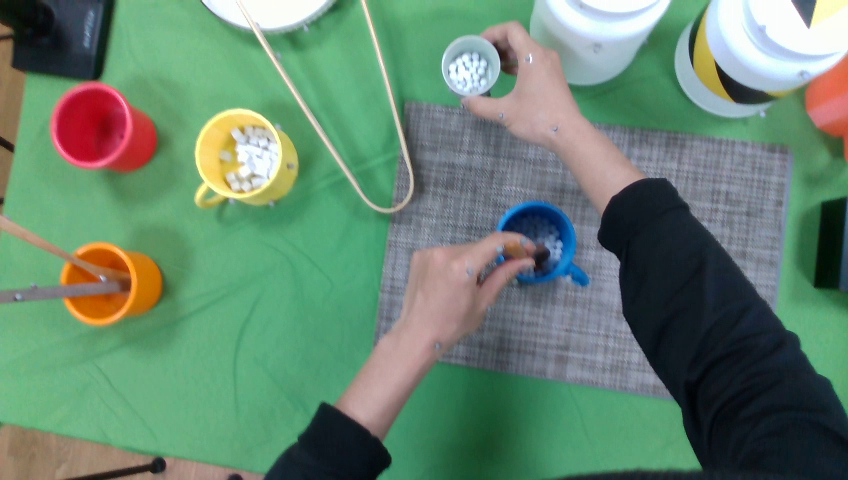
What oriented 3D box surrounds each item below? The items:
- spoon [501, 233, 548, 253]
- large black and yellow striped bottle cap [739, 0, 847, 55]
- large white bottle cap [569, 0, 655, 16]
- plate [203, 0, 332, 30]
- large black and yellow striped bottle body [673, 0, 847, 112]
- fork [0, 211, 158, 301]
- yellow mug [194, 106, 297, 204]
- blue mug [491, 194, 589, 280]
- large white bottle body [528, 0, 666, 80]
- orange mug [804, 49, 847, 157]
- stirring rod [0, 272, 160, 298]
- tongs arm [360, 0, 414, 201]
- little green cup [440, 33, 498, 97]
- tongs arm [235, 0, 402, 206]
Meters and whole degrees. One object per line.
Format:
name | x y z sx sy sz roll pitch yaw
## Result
spoon | 0.094 0.004 0.579 0.041 0.194 0.021 -2 91 14
large black and yellow striped bottle cap | 0.340 -0.223 0.535 0.115 0.019 0.115 0 89 3
large white bottle cap | 0.172 -0.261 0.547 0.115 0.018 0.114 0 88 5
plate | -0.184 -0.353 0.733 0.207 0.039 0.207 0 88 4
large black and yellow striped bottle body | 0.347 -0.216 0.618 0.131 0.184 0.130 0 87 5
fork | -0.396 0.014 0.678 0.209 0.018 0.028 39 85 -38
yellow mug | -0.219 -0.089 0.712 0.131 0.064 0.100 -44 86 3
blue mug | 0.129 0.007 0.660 0.116 0.106 0.082 36 90 5
large white bottle body | 0.180 -0.257 0.631 0.130 0.185 0.130 0 87 5
orange mug | 0.479 -0.153 0.650 0.083 0.101 0.126 -2 83 5
stirring rod | -0.392 0.050 0.683 0.177 0.006 0.014 -5 81 -38
tongs arm | -0.067 -0.235 0.705 0.028 0.027 0.387 -16 93 -5
little green cup | 0.048 -0.183 0.644 0.061 0.038 0.061 0 88 4
tongs arm | -0.144 -0.199 0.705 0.051 0.026 0.385 -30 93 -1
